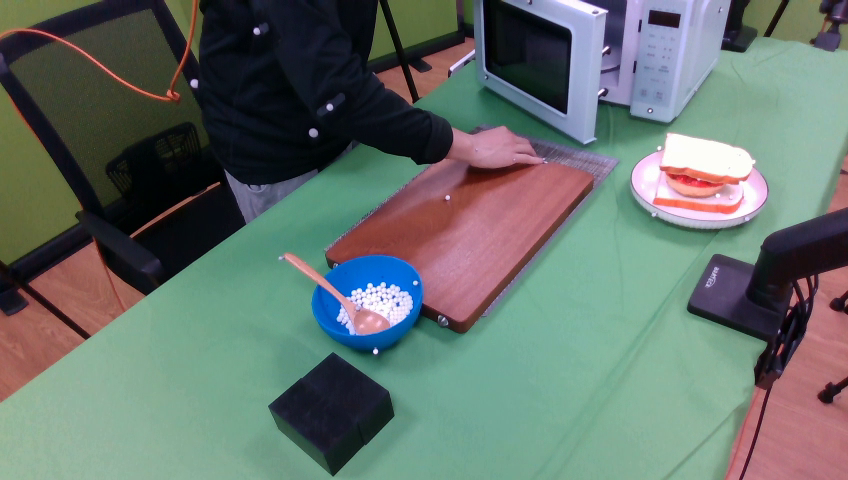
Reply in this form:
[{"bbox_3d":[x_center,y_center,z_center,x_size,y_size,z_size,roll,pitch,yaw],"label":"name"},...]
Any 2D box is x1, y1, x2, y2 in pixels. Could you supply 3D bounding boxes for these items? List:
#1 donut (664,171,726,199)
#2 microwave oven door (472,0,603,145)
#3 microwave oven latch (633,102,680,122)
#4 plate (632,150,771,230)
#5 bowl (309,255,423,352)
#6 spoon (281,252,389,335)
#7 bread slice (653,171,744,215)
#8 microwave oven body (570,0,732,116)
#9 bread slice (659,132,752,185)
[{"bbox_3d":[0.438,-0.105,0.973,0.099,0.048,0.098,-10,42,9],"label":"donut"},{"bbox_3d":[0.206,-0.362,1.167,0.039,0.245,0.352,-25,44,-20],"label":"microwave oven door"},{"bbox_3d":[0.443,-0.249,1.157,0.078,0.029,0.030,22,49,31],"label":"microwave oven latch"},{"bbox_3d":[0.447,-0.081,0.988,0.207,0.039,0.206,-4,40,4],"label":"plate"},{"bbox_3d":[-0.072,0.098,0.820,0.151,0.077,0.150,-4,40,4],"label":"bowl"},{"bbox_3d":[-0.123,0.071,0.811,0.193,0.022,0.042,39,66,16],"label":"spoon"},{"bbox_3d":[0.452,-0.084,0.992,0.131,0.019,0.105,11,45,21],"label":"bread slice"},{"bbox_3d":[0.377,-0.463,1.267,0.438,0.261,0.327,21,49,30],"label":"microwave oven body"},{"bbox_3d":[0.443,-0.127,0.952,0.134,0.018,0.107,14,44,15],"label":"bread slice"}]
